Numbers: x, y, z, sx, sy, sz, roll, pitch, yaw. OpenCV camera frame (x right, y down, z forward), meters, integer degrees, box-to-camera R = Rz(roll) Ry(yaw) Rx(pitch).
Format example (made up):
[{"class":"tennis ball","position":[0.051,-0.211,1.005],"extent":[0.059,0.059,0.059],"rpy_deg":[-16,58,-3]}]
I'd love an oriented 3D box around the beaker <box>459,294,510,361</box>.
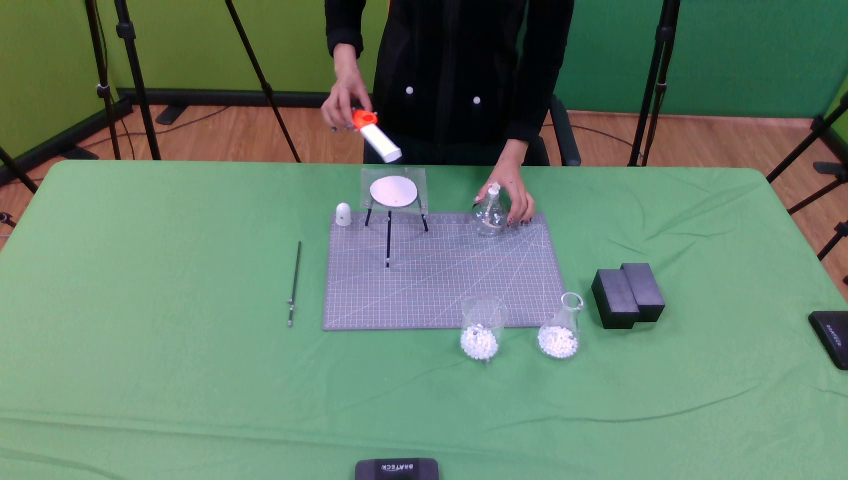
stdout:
[{"class":"beaker","position":[0.095,0.147,1.012],"extent":[0.083,0.101,0.074],"rpy_deg":[26,49,21]}]

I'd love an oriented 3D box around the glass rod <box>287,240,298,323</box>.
[{"class":"glass rod","position":[-0.242,0.072,1.119],"extent":[0.008,0.008,0.198],"rpy_deg":[-1,47,-5]}]

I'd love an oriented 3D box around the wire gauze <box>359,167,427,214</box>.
[{"class":"wire gauze","position":[-0.058,-0.093,1.110],"extent":[0.125,0.011,0.120],"rpy_deg":[2,45,-4]}]

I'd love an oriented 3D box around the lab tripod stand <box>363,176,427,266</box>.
[{"class":"lab tripod stand","position":[-0.058,-0.047,1.159],"extent":[0.148,0.132,0.147],"rpy_deg":[3,44,-2]}]

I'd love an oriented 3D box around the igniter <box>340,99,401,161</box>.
[{"class":"igniter","position":[-0.110,-0.221,1.179],"extent":[0.057,0.025,0.274],"rpy_deg":[-24,39,-12]}]

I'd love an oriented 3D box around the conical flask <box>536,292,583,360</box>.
[{"class":"conical flask","position":[0.234,0.139,1.015],"extent":[0.075,0.122,0.075],"rpy_deg":[2,46,-2]}]

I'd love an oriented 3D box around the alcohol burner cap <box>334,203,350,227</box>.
[{"class":"alcohol burner cap","position":[-0.166,-0.054,1.220],"extent":[0.034,0.048,0.033],"rpy_deg":[2,46,-2]}]

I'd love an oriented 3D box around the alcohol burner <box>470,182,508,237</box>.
[{"class":"alcohol burner","position":[0.132,-0.065,1.207],"extent":[0.078,0.120,0.077],"rpy_deg":[2,44,-1]}]
